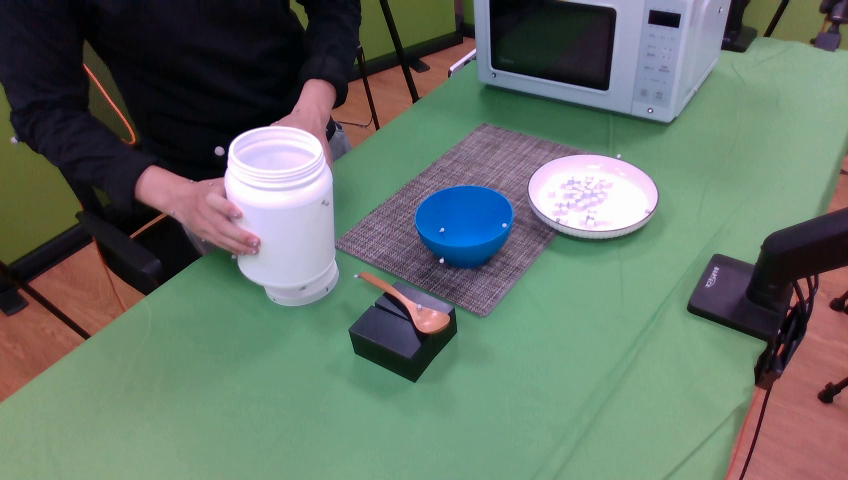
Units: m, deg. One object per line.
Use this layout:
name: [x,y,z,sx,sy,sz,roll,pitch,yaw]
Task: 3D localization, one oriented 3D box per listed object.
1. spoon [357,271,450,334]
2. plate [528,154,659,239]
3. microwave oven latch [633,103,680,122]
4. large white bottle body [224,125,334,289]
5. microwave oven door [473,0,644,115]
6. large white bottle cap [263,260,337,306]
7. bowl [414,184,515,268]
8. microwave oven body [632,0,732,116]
spoon: [-0.034,0.078,0.812,0.042,0.022,0.192,-35,42,-24]
plate: [0.274,-0.069,0.993,0.209,0.038,0.208,-2,43,2]
microwave oven latch: [0.444,-0.249,1.157,0.078,0.029,0.030,21,49,30]
large white bottle body: [-0.185,-0.042,0.783,0.131,0.185,0.130,4,40,-3]
microwave oven door: [0.257,-0.396,1.199,0.353,0.245,0.039,21,48,29]
large white bottle cap: [-0.193,0.056,0.934,0.115,0.018,0.114,-4,40,4]
bowl: [0.063,-0.011,0.922,0.151,0.077,0.150,-4,40,4]
microwave oven body: [0.377,-0.462,1.267,0.438,0.261,0.327,21,48,30]
